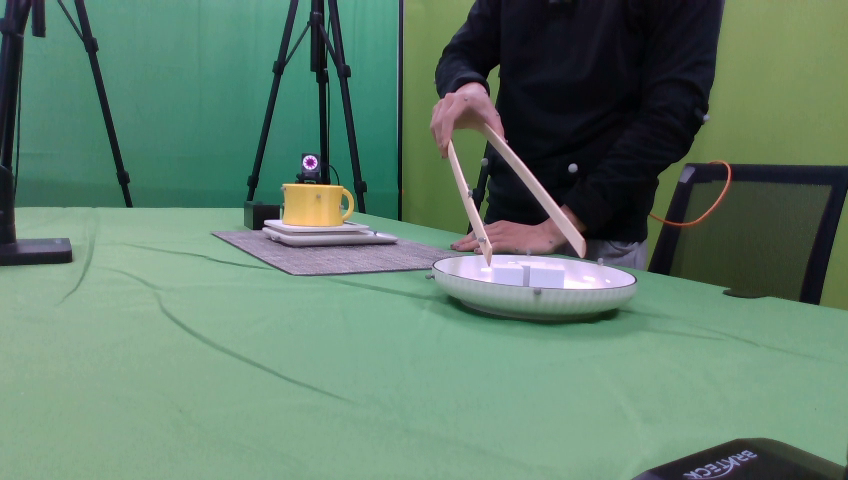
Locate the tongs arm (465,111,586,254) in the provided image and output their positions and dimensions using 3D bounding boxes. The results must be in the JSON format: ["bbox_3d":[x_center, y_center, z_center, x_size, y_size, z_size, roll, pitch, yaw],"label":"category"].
[{"bbox_3d":[0.123,-0.094,0.803,0.028,0.028,0.386,-14,34,-7],"label":"tongs arm"}]

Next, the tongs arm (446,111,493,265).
[{"bbox_3d":[0.066,-0.088,0.797,0.051,0.026,0.383,-8,33,-4],"label":"tongs arm"}]

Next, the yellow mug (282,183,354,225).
[{"bbox_3d":[-0.172,-0.061,1.009,0.131,0.064,0.099,-2,7,-41],"label":"yellow mug"}]

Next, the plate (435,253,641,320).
[{"bbox_3d":[0.114,0.047,0.625,0.208,0.039,0.207,2,7,0],"label":"plate"}]

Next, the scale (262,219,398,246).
[{"bbox_3d":[-0.160,-0.016,1.028,0.202,0.031,0.148,-1,9,-31],"label":"scale"}]
